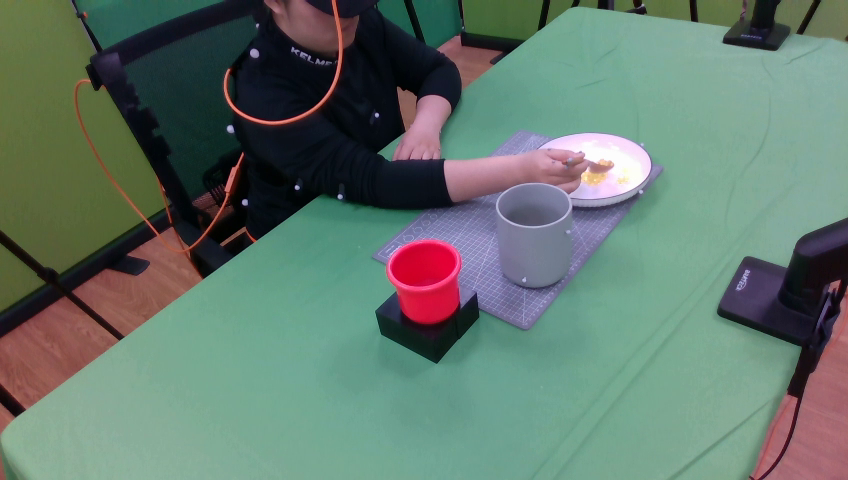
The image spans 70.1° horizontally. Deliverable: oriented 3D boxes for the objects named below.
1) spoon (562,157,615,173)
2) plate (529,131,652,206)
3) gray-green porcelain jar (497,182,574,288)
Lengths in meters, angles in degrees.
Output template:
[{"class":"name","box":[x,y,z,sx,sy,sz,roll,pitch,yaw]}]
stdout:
[{"class":"spoon","box":[0.257,-0.121,0.957,0.041,0.021,0.195,-5,-3,35]},{"class":"plate","box":[0.287,-0.121,1.056,0.207,0.039,0.206,-5,40,5]},{"class":"gray-green porcelain jar","box":[0.160,-0.003,0.869,0.106,0.127,0.105,-5,40,5]}]
